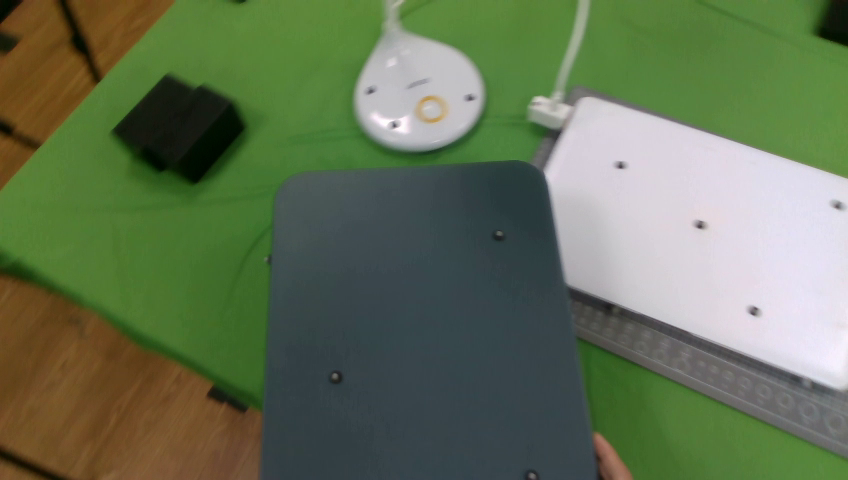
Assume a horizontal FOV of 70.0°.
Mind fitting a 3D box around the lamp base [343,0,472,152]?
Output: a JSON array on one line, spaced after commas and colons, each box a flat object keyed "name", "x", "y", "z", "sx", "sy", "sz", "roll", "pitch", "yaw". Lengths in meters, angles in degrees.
[{"name": "lamp base", "x": -0.034, "y": -0.220, "z": 0.690, "sx": 0.160, "sy": 0.182, "sz": 0.177, "roll": -33, "pitch": 64, "yaw": -11}]

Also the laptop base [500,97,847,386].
[{"name": "laptop base", "x": 0.286, "y": -0.013, "z": 0.659, "sx": 0.353, "sy": 0.023, "sz": 0.234, "roll": 21, "pitch": 71, "yaw": 13}]

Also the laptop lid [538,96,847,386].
[{"name": "laptop lid", "x": 0.285, "y": -0.017, "z": 0.648, "sx": 0.355, "sy": 0.013, "sz": 0.240, "roll": 22, "pitch": 71, "yaw": 14}]

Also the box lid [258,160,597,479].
[{"name": "box lid", "x": -0.001, "y": 0.094, "z": 0.509, "sx": 0.263, "sy": 0.015, "sz": 0.368, "roll": -3, "pitch": 67, "yaw": -1}]

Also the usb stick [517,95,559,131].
[{"name": "usb stick", "x": 0.141, "y": -0.148, "z": 0.719, "sx": 0.059, "sy": 0.027, "sz": 0.021, "roll": 25, "pitch": 64, "yaw": 11}]
